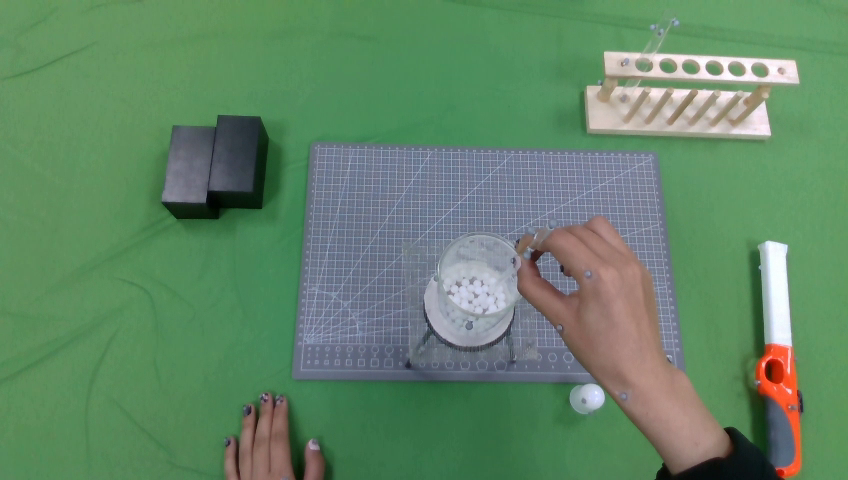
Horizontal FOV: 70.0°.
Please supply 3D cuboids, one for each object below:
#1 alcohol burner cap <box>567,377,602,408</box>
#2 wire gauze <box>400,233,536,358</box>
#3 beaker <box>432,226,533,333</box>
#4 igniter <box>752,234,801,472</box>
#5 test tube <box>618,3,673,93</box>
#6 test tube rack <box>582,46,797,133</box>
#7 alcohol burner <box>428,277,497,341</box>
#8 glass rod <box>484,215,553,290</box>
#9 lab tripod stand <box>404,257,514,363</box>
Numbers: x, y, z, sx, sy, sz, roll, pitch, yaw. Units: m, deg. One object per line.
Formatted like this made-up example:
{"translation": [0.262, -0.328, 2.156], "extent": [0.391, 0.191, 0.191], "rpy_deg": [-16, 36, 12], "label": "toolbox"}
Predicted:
{"translation": [0.181, 0.168, 0.672], "extent": [0.034, 0.048, 0.033], "rpy_deg": [1, 70, -2], "label": "alcohol burner cap"}
{"translation": [0.041, 0.052, 0.583], "extent": [0.125, 0.011, 0.120], "rpy_deg": [-2, 69, -1], "label": "wire gauze"}
{"translation": [0.047, 0.039, 0.536], "extent": [0.084, 0.101, 0.073], "rpy_deg": [-3, 70, -4], "label": "beaker"}
{"translation": [0.408, 0.126, 0.705], "extent": [0.057, 0.025, 0.275], "rpy_deg": [11, 71, -10], "label": "igniter"}
{"translation": [0.265, -0.227, 0.734], "extent": [0.017, 0.151, 0.017], "rpy_deg": [1, 68, -1], "label": "test tube"}
{"translation": [0.336, -0.191, 0.777], "extent": [0.242, 0.085, 0.066], "rpy_deg": [1, 71, -2], "label": "test tube rack"}
{"translation": [0.044, 0.072, 0.656], "extent": [0.078, 0.120, 0.077], "rpy_deg": [2, 69, -4], "label": "alcohol burner"}
{"translation": [0.070, 0.015, 0.484], "extent": [0.008, 0.200, 0.008], "rpy_deg": [2, 73, -6], "label": "glass rod"}
{"translation": [0.038, 0.076, 0.644], "extent": [0.148, 0.132, 0.147], "rpy_deg": [0, 70, -1], "label": "lab tripod stand"}
